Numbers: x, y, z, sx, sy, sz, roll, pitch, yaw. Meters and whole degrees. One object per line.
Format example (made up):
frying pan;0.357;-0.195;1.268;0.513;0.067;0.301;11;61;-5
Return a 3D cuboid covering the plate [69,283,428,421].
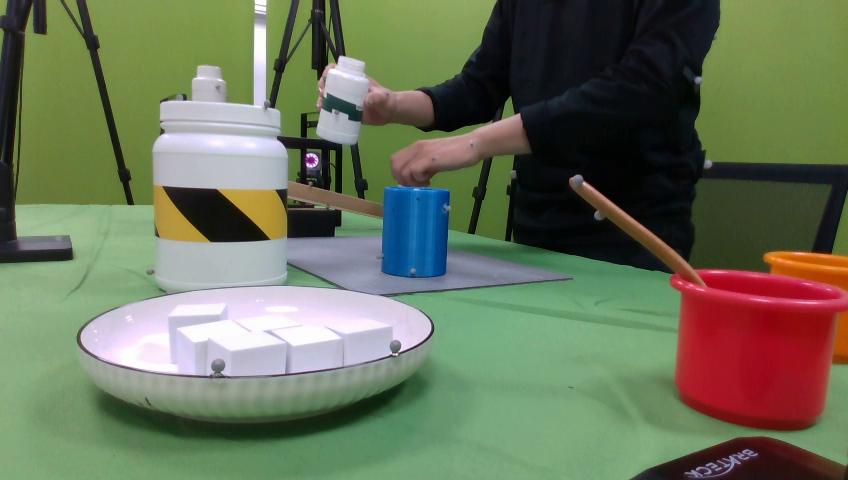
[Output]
plate;-0.102;0.066;0.381;0.208;0.039;0.207;2;7;0

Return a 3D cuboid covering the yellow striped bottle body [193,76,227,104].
yellow striped bottle body;-0.414;-0.268;1.169;0.063;0.120;0.063;2;7;0

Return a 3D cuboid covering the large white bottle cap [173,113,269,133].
large white bottle cap;-0.254;-0.146;0.760;0.115;0.018;0.115;1;7;0

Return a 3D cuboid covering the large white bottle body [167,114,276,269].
large white bottle body;-0.256;-0.063;0.772;0.131;0.184;0.130;2;7;0

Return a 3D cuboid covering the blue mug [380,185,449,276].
blue mug;-0.018;-0.016;0.764;0.083;0.106;0.116;-1;8;-25

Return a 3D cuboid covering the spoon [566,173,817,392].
spoon;0.161;0.024;0.370;0.193;0.021;0.042;47;17;3

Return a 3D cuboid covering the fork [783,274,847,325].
fork;0.332;0.018;0.443;0.028;0.018;0.207;-1;-36;-15

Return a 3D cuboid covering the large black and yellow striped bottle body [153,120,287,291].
large black and yellow striped bottle body;-0.208;-0.043;0.626;0.131;0.184;0.130;2;7;0

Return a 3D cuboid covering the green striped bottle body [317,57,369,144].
green striped bottle body;-0.119;-0.207;0.897;0.063;0.119;0.063;12;18;-4

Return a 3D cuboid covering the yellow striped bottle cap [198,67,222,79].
yellow striped bottle cap;-0.411;-0.320;1.163;0.044;0.018;0.044;0;5;0

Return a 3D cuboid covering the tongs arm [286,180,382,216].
tongs arm;-0.122;-0.066;1.147;0.387;0.026;0.050;11;-2;-37

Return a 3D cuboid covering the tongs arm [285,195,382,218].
tongs arm;-0.165;-0.074;1.216;0.389;0.027;0.028;11;-6;-24

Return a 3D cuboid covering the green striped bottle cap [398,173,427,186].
green striped bottle cap;-0.017;-0.089;0.934;0.044;0.020;0.044;7;20;-2

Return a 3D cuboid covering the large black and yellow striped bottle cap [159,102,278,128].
large black and yellow striped bottle cap;-0.207;-0.125;0.615;0.115;0.019;0.115;2;6;0

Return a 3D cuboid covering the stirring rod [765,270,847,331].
stirring rod;0.352;0.020;0.484;0.176;0.006;0.014;-40;-7;13
